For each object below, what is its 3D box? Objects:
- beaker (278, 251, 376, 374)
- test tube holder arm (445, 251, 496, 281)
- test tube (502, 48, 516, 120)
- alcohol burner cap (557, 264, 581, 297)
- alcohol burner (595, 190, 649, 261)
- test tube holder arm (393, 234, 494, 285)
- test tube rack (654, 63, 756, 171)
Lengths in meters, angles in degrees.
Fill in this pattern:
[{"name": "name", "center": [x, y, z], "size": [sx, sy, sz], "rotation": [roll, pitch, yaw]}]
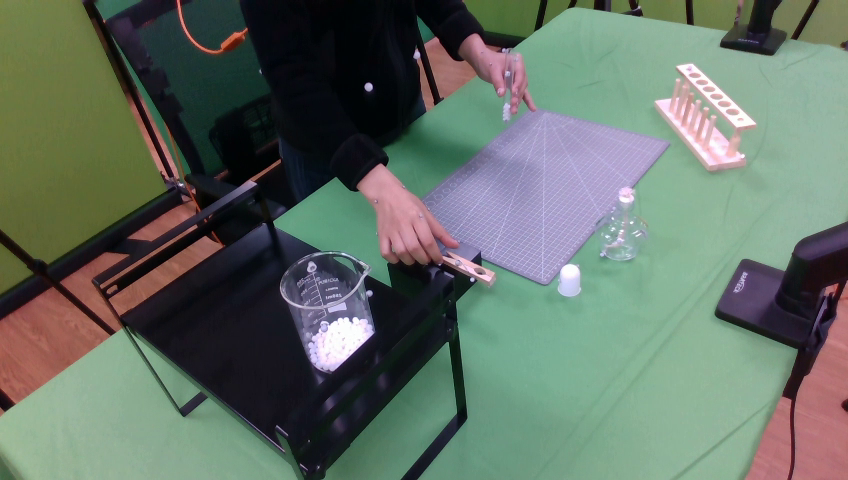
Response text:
[{"name": "beaker", "center": [-0.084, 0.070, 0.569], "size": [0.084, 0.101, 0.073], "rotation": [-18, 42, -13]}, {"name": "test tube holder arm", "center": [0.063, 0.037, 0.851], "size": [0.087, 0.015, 0.010], "rotation": [23, 56, 32]}, {"name": "test tube", "center": [0.143, -0.259, 1.022], "size": [0.017, 0.151, 0.017], "rotation": [-2, 55, 3]}, {"name": "alcohol burner cap", "center": [0.208, 0.055, 0.866], "size": [0.034, 0.048, 0.033], "rotation": [-4, 41, 4]}, {"name": "alcohol burner", "center": [0.294, -0.028, 0.894], "size": [0.078, 0.119, 0.077], "rotation": [-4, 43, 5]}, {"name": "test tube holder arm", "center": [0.024, 0.026, 0.871], "size": [0.177, 0.015, 0.013], "rotation": [22, 55, 31]}, {"name": "test tube rack", "center": [0.510, -0.233, 1.120], "size": [0.067, 0.085, 0.241], "rotation": [-8, 41, -1]}]
